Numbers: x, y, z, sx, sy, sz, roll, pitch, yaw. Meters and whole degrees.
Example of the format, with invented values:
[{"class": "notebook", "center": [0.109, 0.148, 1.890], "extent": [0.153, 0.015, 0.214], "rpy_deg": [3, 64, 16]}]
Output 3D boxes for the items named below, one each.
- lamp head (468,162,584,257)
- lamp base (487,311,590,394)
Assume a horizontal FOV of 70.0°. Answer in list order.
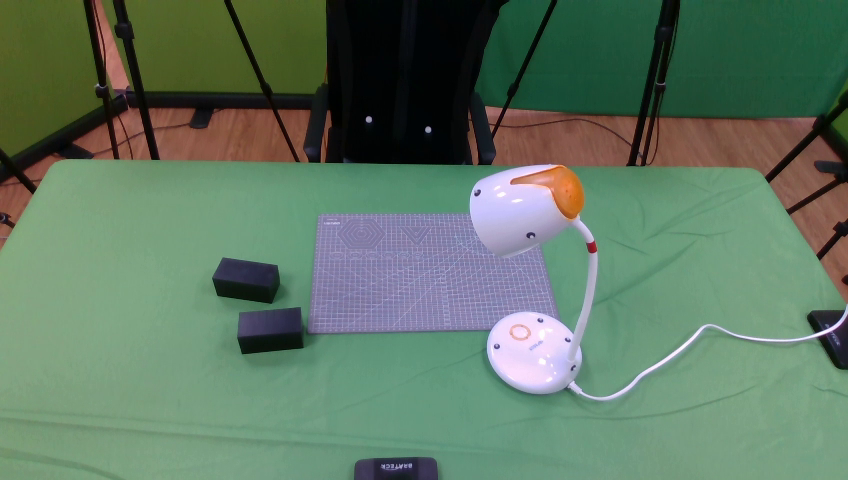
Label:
[{"class": "lamp head", "center": [0.135, -0.043, 0.746], "extent": [0.122, 0.113, 0.112], "rpy_deg": [-15, 30, 42]}, {"class": "lamp base", "center": [0.199, 0.142, 0.962], "extent": [0.178, 0.181, 0.160], "rpy_deg": [38, 56, 24]}]
